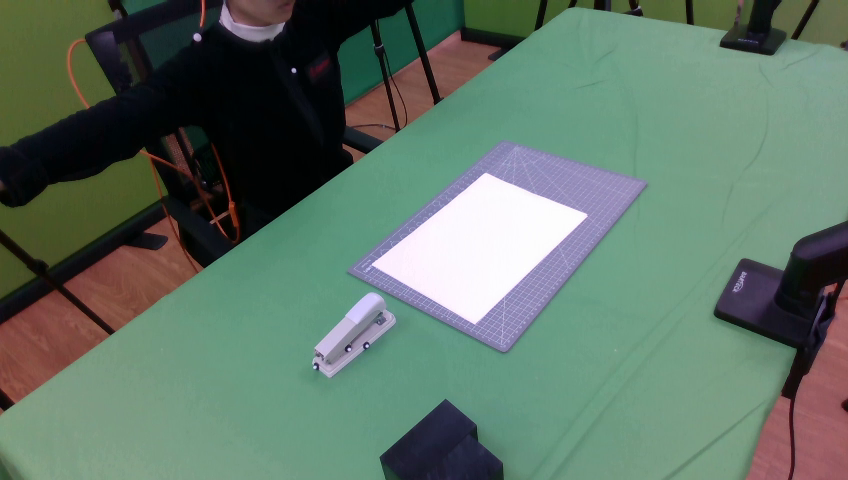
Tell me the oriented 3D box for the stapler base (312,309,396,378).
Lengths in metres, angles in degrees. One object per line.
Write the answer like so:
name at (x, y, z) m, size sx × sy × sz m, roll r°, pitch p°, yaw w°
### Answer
stapler base at (-0.096, 0.133, 0.831) m, size 0.041 × 0.024 × 0.131 m, roll 25°, pitch 51°, yaw 36°

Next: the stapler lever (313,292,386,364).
stapler lever at (-0.099, 0.116, 0.814) m, size 0.026 × 0.040 × 0.118 m, roll 25°, pitch 51°, yaw 36°
